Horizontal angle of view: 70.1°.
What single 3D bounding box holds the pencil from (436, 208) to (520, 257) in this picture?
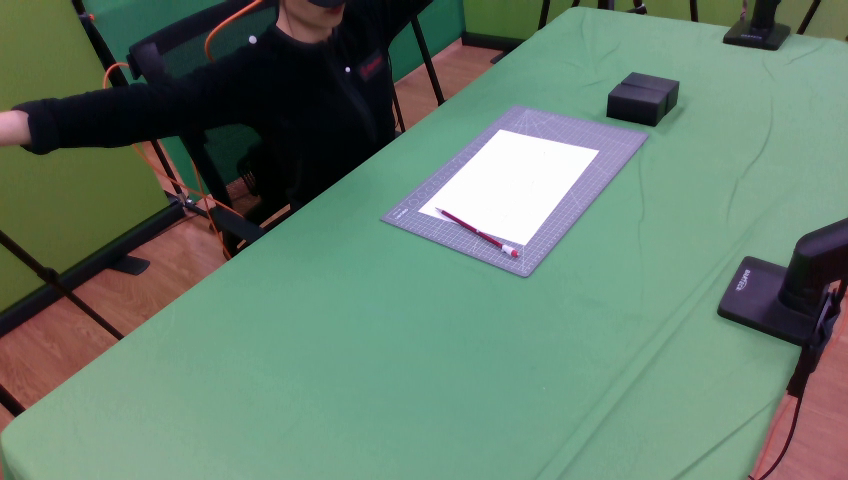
[{"bbox_3d":[0.083,-0.016,0.990,0.012,0.012,0.192,-34,45,-26],"label":"pencil"}]
